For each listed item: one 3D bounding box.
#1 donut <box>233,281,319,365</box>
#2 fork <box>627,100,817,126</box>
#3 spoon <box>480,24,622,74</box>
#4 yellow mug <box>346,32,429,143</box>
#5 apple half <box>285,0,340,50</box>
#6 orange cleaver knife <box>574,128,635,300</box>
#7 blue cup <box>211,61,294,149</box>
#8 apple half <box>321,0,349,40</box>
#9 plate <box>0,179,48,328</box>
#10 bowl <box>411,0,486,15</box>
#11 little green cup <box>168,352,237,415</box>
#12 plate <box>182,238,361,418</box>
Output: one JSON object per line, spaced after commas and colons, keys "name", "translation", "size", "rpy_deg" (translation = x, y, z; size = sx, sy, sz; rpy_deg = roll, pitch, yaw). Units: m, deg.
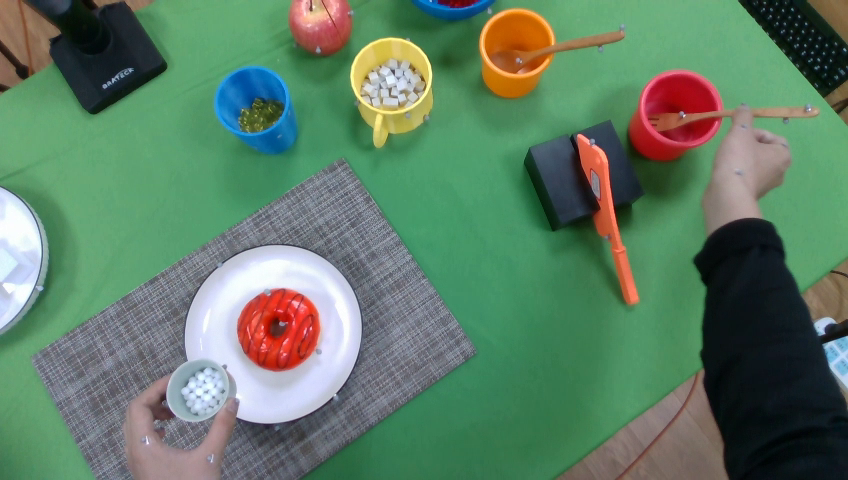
{"name": "donut", "translation": [-0.172, 0.096, 0.706], "size": [0.099, 0.048, 0.098], "rpy_deg": [0, 81, 2]}
{"name": "fork", "translation": [0.337, -0.150, 0.706], "size": [0.206, 0.019, 0.028], "rpy_deg": [5, 63, 45]}
{"name": "spoon", "translation": [0.144, -0.230, 0.721], "size": [0.022, 0.192, 0.041], "rpy_deg": [22, 77, -40]}
{"name": "yellow mug", "translation": [-0.047, -0.184, 0.756], "size": [0.100, 0.064, 0.130], "rpy_deg": [13, 81, 3]}
{"name": "apple half", "translation": [-0.148, -0.278, 0.772], "size": [0.053, 0.075, 0.080], "rpy_deg": [-29, 84, -1]}
{"name": "orange cleaver knife", "translation": [0.212, -0.030, 0.717], "size": [0.012, 0.076, 0.212], "rpy_deg": [-21, 109, -4]}
{"name": "blue cup", "translation": [-0.199, -0.155, 0.735], "size": [0.092, 0.100, 0.092], "rpy_deg": [0, 81, 0]}
{"name": "apple half", "translation": [-0.114, -0.298, 0.773], "size": [0.033, 0.081, 0.081], "rpy_deg": [-28, 80, -2]}
{"name": "plate", "translation": [-0.558, 0.022, 0.739], "size": [0.208, 0.039, 0.207], "rpy_deg": [0, 80, 1]}
{"name": "bowl", "translation": [0.032, -0.349, 0.780], "size": [0.151, 0.077, 0.151], "rpy_deg": [0, 80, 1]}
{"name": "little green cup", "translation": [-0.220, 0.146, 0.609], "size": [0.061, 0.039, 0.061], "rpy_deg": [-1, 72, 2]}
{"name": "plate", "translation": [-0.176, 0.102, 0.716], "size": [0.209, 0.038, 0.208], "rpy_deg": [0, 80, 1]}
